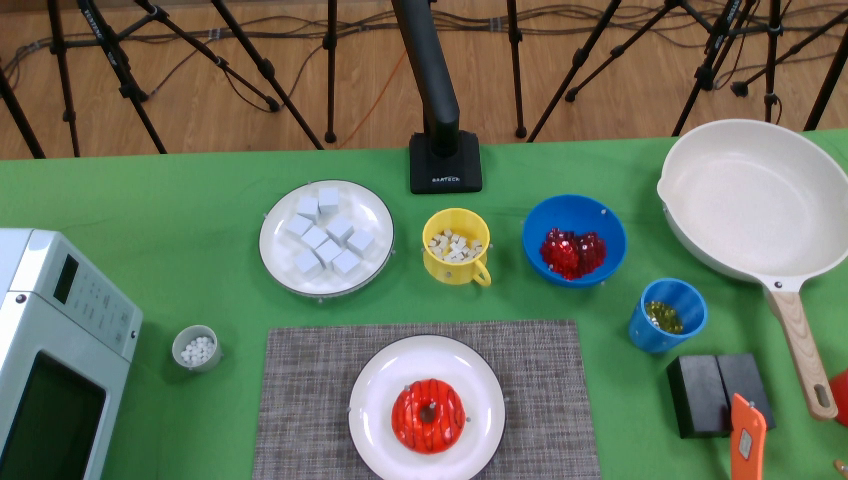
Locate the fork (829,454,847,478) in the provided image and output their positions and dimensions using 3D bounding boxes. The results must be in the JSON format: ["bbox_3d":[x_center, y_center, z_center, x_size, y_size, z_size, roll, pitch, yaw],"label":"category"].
[{"bbox_3d":[0.515,0.300,0.700,0.209,0.018,0.028,44,63,-26],"label":"fork"}]

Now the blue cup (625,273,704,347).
[{"bbox_3d":[0.323,0.105,0.836,0.092,0.101,0.092,0,62,0],"label":"blue cup"}]

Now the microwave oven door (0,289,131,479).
[{"bbox_3d":[-0.433,0.261,0.659,0.039,0.246,0.352,1,61,2],"label":"microwave oven door"}]

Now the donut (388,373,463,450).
[{"bbox_3d":[0.002,0.225,0.794,0.099,0.048,0.098,-1,65,2],"label":"donut"}]

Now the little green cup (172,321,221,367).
[{"bbox_3d":[-0.318,0.149,0.855,0.061,0.039,0.061,0,62,1],"label":"little green cup"}]

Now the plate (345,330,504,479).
[{"bbox_3d":[0.001,0.222,0.808,0.209,0.038,0.207,0,62,1],"label":"plate"}]

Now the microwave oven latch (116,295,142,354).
[{"bbox_3d":[-0.421,0.119,0.853,0.030,0.030,0.078,3,62,2],"label":"microwave oven latch"}]

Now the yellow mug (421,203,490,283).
[{"bbox_3d":[0.055,0.014,0.910,0.100,0.064,0.130,-35,67,-17],"label":"yellow mug"}]

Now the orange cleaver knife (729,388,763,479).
[{"bbox_3d":[0.395,0.292,0.745,0.012,0.077,0.211,-2,90,0],"label":"orange cleaver knife"}]

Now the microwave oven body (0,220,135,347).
[{"bbox_3d":[-0.577,0.223,0.687,0.326,0.262,0.438,1,62,1],"label":"microwave oven body"}]

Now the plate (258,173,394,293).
[{"bbox_3d":[-0.149,-0.009,0.941,0.208,0.039,0.206,0,61,1],"label":"plate"}]

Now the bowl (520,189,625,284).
[{"bbox_3d":[0.215,0.007,0.905,0.151,0.077,0.150,0,62,1],"label":"bowl"}]

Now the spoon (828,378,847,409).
[{"bbox_3d":[0.620,0.189,0.762,0.193,0.022,0.041,-19,50,42],"label":"spoon"}]

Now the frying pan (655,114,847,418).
[{"bbox_3d":[0.498,0.019,0.880,0.307,0.103,0.483,3,53,3],"label":"frying pan"}]
